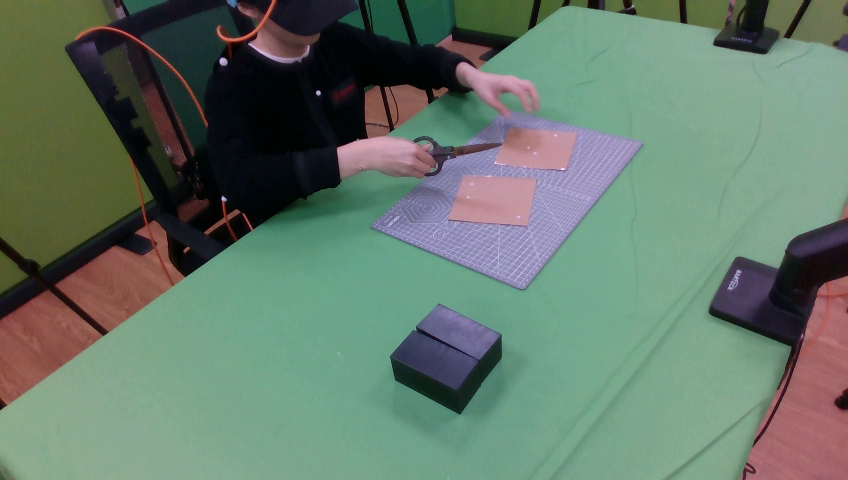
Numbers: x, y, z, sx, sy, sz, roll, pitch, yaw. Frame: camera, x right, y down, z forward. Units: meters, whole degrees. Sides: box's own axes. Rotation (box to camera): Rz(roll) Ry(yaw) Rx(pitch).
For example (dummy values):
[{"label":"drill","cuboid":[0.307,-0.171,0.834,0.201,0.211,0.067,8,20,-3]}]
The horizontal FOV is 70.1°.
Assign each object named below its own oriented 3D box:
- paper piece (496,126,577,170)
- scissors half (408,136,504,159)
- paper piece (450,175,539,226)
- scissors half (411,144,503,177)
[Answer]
[{"label":"paper piece","cuboid":[0.218,-0.178,1.159,0.135,0.004,0.135,8,43,18]},{"label":"scissors half","cuboid":[0.053,-0.162,1.056,0.174,0.040,0.013,3,25,18]},{"label":"paper piece","cuboid":[0.125,-0.073,1.051,0.135,0.009,0.138,3,42,18]},{"label":"scissors half","cuboid":[0.058,-0.144,1.063,0.174,0.040,0.013,-14,24,26]}]
